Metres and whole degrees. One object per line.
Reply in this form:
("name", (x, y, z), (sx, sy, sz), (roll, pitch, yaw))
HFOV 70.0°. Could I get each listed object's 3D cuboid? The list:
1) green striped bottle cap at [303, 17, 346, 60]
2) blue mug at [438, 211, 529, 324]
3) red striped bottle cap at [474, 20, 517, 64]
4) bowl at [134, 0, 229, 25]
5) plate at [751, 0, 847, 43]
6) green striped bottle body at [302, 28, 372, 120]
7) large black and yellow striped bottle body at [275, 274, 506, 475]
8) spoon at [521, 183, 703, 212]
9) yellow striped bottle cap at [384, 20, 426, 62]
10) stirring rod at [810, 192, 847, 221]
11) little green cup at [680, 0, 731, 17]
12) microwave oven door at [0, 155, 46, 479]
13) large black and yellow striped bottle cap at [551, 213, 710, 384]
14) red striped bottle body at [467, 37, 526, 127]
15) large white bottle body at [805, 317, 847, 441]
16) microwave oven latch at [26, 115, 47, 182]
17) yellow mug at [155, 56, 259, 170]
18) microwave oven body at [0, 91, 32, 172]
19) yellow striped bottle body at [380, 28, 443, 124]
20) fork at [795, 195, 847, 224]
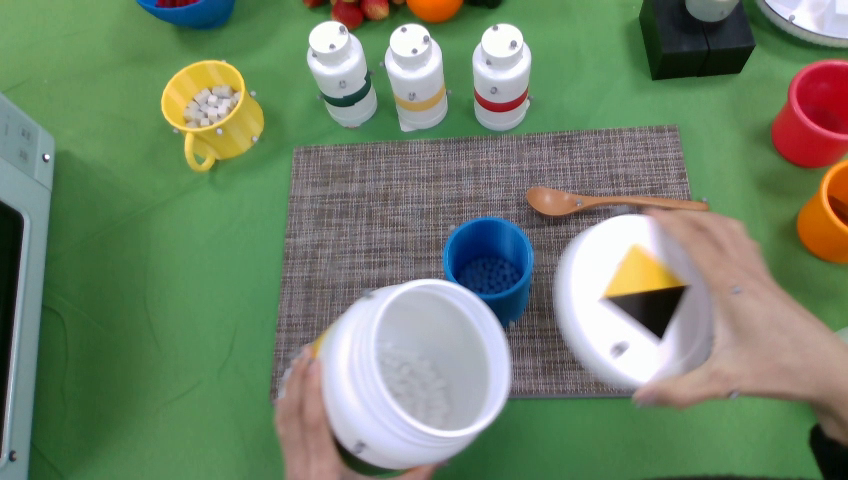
("green striped bottle cap", (-0.107, -0.216, 0.647), (0.044, 0.020, 0.044), (-1, 67, 3))
("blue mug", (0.045, 0.040, 0.589), (0.116, 0.106, 0.081), (-34, 68, -8))
("red striped bottle cap", (0.074, -0.205, 0.624), (0.044, 0.018, 0.044), (-1, 66, 2))
("bowl", (-0.308, -0.339, 0.796), (0.151, 0.077, 0.150), (-2, 68, 5))
("plate", (0.487, -0.318, 0.731), (0.209, 0.038, 0.207), (-2, 68, 5))
("green striped bottle body", (-0.100, -0.196, 0.695), (0.063, 0.120, 0.062), (-2, 68, 5))
("large black and yellow striped bottle body", (-0.031, 0.108, 0.475), (0.131, 0.184, 0.129), (13, 61, -24))
("spoon", (0.202, -0.045, 0.653), (0.193, 0.022, 0.041), (1, 46, 6))
("yellow striped bottle cap", (-0.020, -0.209, 0.636), (0.044, 0.019, 0.044), (0, 64, 1))
("stirring rod", (0.410, -0.013, 0.562), (0.014, 0.006, 0.175), (0, 24, 3))
("little green cup", (0.319, -0.283, 0.678), (0.061, 0.039, 0.061), (-1, 66, 4))
("microwave oven door", (-0.445, 0.054, 0.543), (0.039, 0.245, 0.353), (-11, 67, 2))
("large black and yellow striped bottle cap", (0.139, 0.037, 0.402), (0.115, 0.019, 0.114), (7, 69, -19))
("red striped bottle body", (0.080, -0.184, 0.673), (0.063, 0.120, 0.062), (-2, 67, 5))
("large white bottle body", (0.415, 0.103, 0.487), (0.130, 0.186, 0.129), (-2, 67, 5))
("microwave oven latch", (-0.470, -0.106, 0.720), (0.030, 0.030, 0.078), (-9, 68, 2))
("yellow mug", (-0.260, -0.145, 0.720), (0.100, 0.064, 0.130), (7, 69, 8))
("microwave oven body", (-0.595, 0.046, 0.567), (0.326, 0.262, 0.438), (-11, 68, 1))
("yellow striped bottle body", (-0.014, -0.190, 0.684), (0.063, 0.121, 0.062), (-2, 67, 6))
("fork", (0.439, -0.013, 0.551), (0.028, 0.019, 0.205), (-29, 23, -14))
